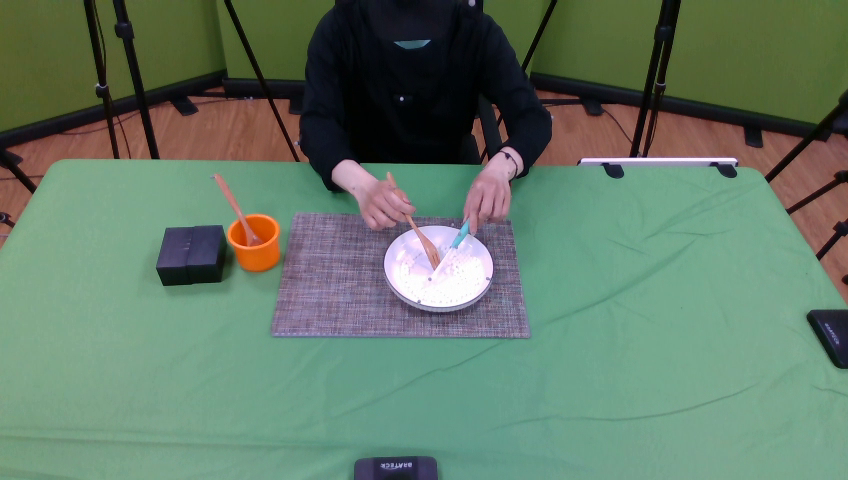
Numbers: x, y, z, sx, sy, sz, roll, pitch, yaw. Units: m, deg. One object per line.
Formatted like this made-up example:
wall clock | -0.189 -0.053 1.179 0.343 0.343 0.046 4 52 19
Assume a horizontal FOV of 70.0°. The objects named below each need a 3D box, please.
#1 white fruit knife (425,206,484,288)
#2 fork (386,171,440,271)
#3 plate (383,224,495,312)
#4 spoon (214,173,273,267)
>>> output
white fruit knife | 0.058 0.011 1.142 0.016 0.027 0.207 27 66 20
fork | -0.020 -0.035 1.127 0.028 0.018 0.207 -32 94 -39
plate | 0.026 0.055 1.128 0.209 0.038 0.208 2 46 -2
spoon | -0.335 -0.037 1.121 0.041 0.194 0.021 -29 10 -24
